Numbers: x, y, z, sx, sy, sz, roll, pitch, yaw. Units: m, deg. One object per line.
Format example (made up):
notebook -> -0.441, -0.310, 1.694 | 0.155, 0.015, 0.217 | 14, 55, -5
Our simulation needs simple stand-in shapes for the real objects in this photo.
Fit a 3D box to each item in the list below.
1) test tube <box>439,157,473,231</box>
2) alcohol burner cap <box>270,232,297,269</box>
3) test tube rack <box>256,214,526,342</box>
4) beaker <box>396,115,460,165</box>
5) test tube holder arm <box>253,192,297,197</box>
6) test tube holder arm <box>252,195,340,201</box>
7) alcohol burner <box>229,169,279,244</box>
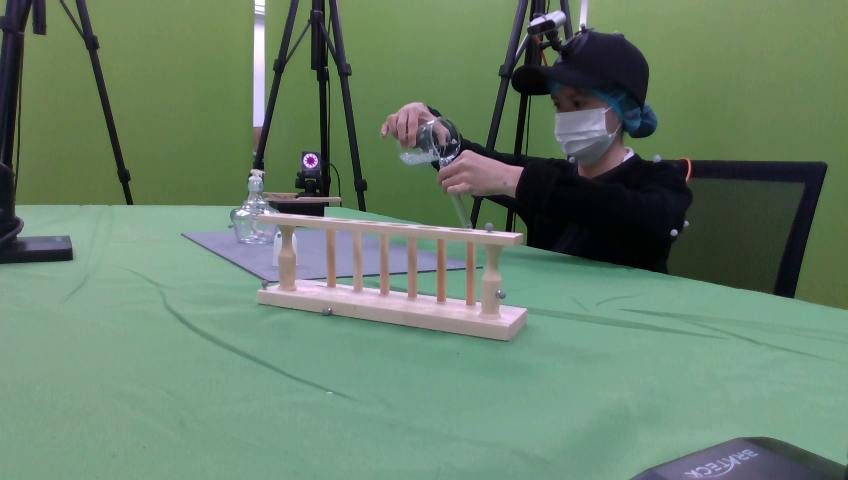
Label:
test tube -> 0.052, -0.077, 1.009 | 0.017, 0.149, 0.017 | -14, -29, -8
alcohol burner cap -> -0.175, 0.012, 0.760 | 0.034, 0.048, 0.034 | 2, 7, 0
test tube rack -> -0.032, 0.027, 0.547 | 0.241, 0.085, 0.067 | 5, 7, 22
beaker -> 0.004, -0.173, 1.083 | 0.074, 0.084, 0.100 | 12, -11, -42
test tube holder arm -> -0.301, -0.092, 1.223 | 0.088, 0.010, 0.015 | 0, 7, -25
test tube holder arm -> -0.260, -0.087, 1.242 | 0.179, 0.013, 0.015 | -1, 7, -25
alcohol burner -> -0.268, -0.053, 0.958 | 0.078, 0.119, 0.078 | 2, 6, 0
